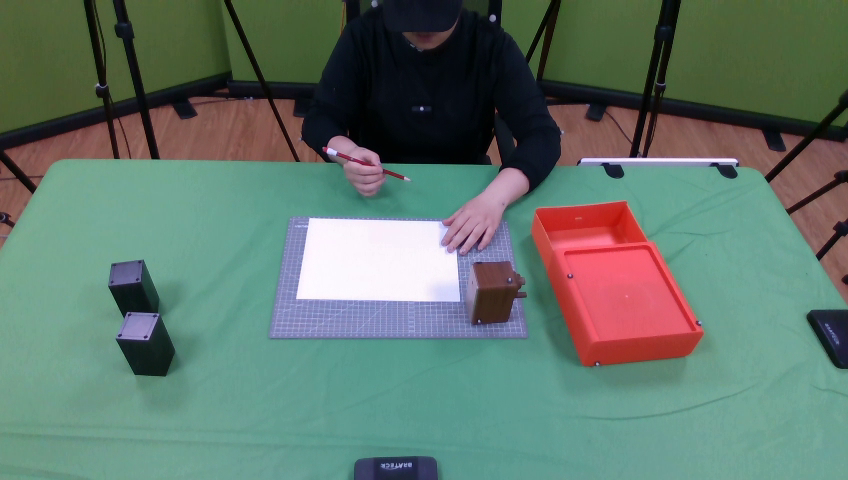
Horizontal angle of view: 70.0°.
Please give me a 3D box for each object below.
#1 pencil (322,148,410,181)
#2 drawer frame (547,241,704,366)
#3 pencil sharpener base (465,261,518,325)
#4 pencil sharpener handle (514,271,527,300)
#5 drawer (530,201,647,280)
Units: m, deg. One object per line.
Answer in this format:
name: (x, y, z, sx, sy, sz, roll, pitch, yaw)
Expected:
pencil: (-0.117, -0.152, 1.234, 0.194, 0.012, 0.012, 20, 47, 1)
drawer frame: (0.348, 0.106, 1.077, 0.202, 0.083, 0.212, -4, 47, -9)
pencil sharpener base: (0.117, 0.093, 1.052, 0.077, 0.107, 0.061, -3, 46, -7)
pencil sharpener handle: (0.169, 0.081, 1.051, 0.031, 0.068, 0.035, -3, 49, -7)
drawer: (0.329, 0.025, 1.159, 0.195, 0.073, 0.210, -5, 46, -9)
